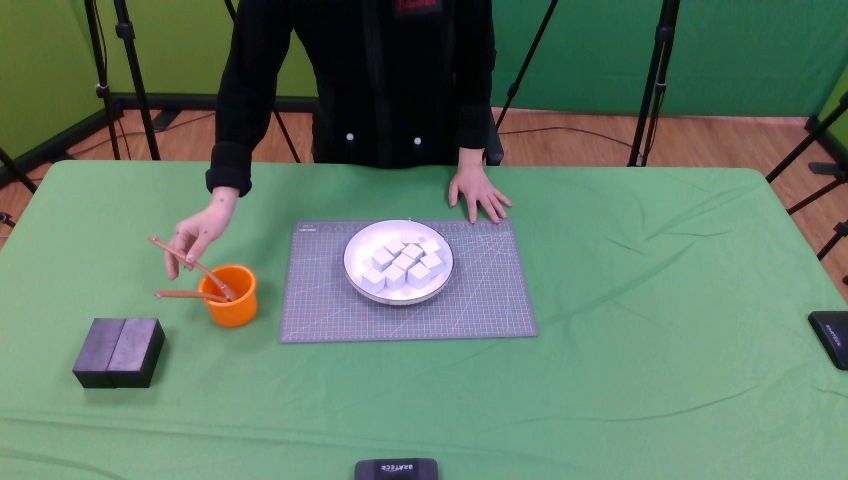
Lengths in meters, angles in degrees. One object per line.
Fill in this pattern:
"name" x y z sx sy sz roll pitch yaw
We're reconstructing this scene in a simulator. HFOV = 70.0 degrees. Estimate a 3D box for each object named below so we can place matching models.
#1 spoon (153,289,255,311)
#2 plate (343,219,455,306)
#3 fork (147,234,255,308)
"spoon" -0.355 0.094 0.990 0.021 0.195 0.041 -49 59 11
"plate" -0.047 0.045 1.136 0.208 0.039 0.206 2 46 -2
"fork" -0.371 0.054 1.018 0.208 0.018 0.028 43 24 -24
